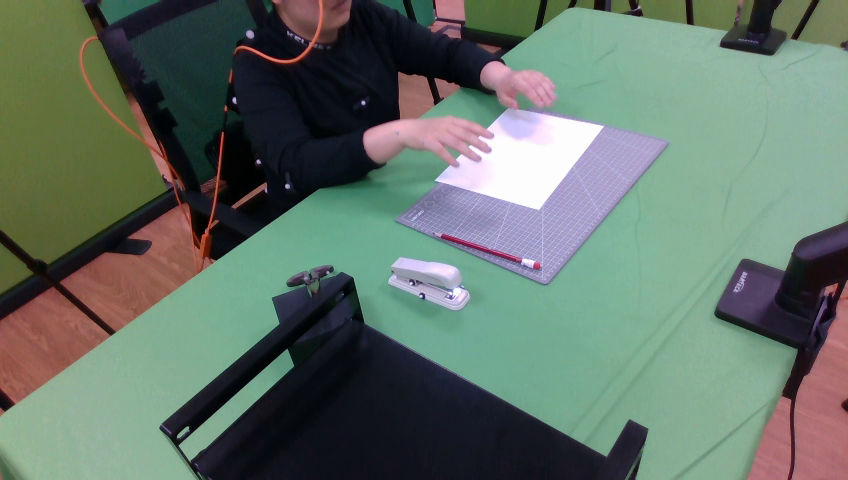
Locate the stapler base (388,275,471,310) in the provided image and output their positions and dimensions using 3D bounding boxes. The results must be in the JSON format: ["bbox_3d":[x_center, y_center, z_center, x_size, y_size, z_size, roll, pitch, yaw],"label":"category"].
[{"bbox_3d":[0.007,0.066,0.897,0.129,0.024,0.041,17,44,29],"label":"stapler base"}]

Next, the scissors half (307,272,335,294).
[{"bbox_3d":[-0.152,0.062,0.872,0.040,0.013,0.175,-2,5,-4],"label":"scissors half"}]

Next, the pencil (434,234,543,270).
[{"bbox_3d":[0.096,0.015,0.949,0.192,0.012,0.012,18,46,29],"label":"pencil"}]

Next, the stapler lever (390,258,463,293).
[{"bbox_3d":[0.002,0.046,0.881,0.117,0.040,0.027,17,44,29],"label":"stapler lever"}]

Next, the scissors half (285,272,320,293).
[{"bbox_3d":[-0.171,0.063,0.868,0.040,0.013,0.174,-9,7,-22],"label":"scissors half"}]
